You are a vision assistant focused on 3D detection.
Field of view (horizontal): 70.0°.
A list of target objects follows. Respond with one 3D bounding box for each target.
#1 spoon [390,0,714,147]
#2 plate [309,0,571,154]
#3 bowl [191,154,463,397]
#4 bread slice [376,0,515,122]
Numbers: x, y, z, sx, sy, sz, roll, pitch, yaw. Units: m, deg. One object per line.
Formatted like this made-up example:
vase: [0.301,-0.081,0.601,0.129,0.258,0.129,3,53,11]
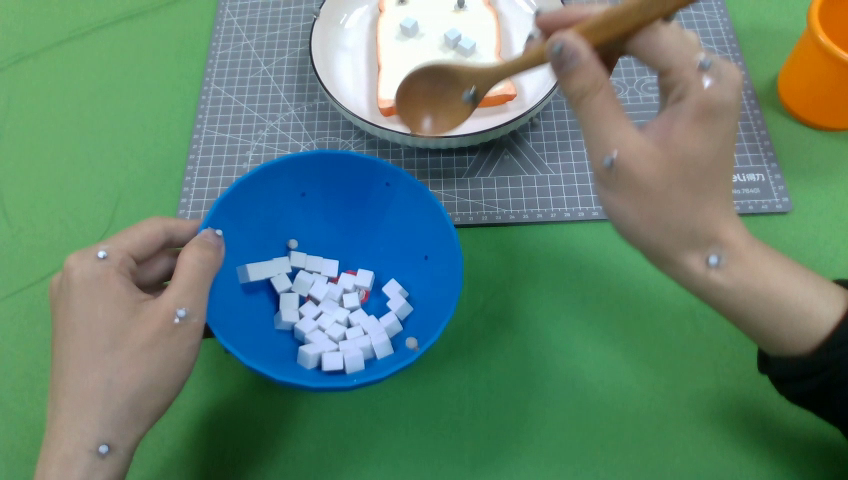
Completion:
spoon: [0.046,-0.080,0.293,0.021,0.193,0.042,-40,109,-33]
plate: [0.012,-0.152,0.495,0.209,0.038,0.207,-1,63,3]
bowl: [-0.057,0.030,0.372,0.152,0.077,0.150,5,61,-8]
bread slice: [0.009,-0.155,0.500,0.107,0.018,0.133,-9,64,-1]
